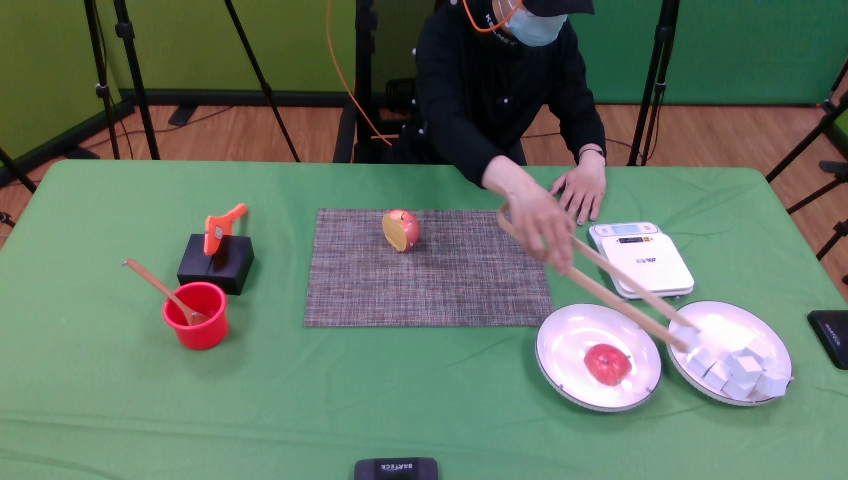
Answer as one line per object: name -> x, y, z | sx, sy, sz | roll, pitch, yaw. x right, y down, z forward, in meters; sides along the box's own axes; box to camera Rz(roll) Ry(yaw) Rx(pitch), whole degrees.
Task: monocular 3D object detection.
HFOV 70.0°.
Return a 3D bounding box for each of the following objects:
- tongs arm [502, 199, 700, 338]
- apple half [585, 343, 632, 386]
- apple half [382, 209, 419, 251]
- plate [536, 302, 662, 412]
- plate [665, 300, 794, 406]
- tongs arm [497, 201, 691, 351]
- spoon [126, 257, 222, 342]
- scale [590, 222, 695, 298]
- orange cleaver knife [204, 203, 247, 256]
tongs arm -> 0.291, 0.040, 1.028 | 0.386, 0.028, 0.028 | 38, 64, 22
apple half -> 0.309, 0.198, 1.008 | 0.081, 0.033, 0.081 | 4, 48, -4
apple half -> -0.039, -0.022, 1.175 | 0.053, 0.075, 0.080 | -27, 50, -31
plate -> 0.288, 0.197, 1.016 | 0.209, 0.038, 0.208 | 2, 46, -2
plate -> 0.513, 0.194, 1.033 | 0.208, 0.039, 0.206 | 2, 46, -2
tongs arm -> 0.275, 0.053, 1.017 | 0.383, 0.026, 0.050 | 34, 59, 20
spoon -> -0.408, 0.096, 0.990 | 0.194, 0.021, 0.041 | 50, 53, -18
scale -> 0.424, 0.031, 1.189 | 0.149, 0.032, 0.199 | -3, 46, -7
orange cleaver knife -> -0.374, -0.024, 1.146 | 0.012, 0.077, 0.211 | 4, 14, 1
